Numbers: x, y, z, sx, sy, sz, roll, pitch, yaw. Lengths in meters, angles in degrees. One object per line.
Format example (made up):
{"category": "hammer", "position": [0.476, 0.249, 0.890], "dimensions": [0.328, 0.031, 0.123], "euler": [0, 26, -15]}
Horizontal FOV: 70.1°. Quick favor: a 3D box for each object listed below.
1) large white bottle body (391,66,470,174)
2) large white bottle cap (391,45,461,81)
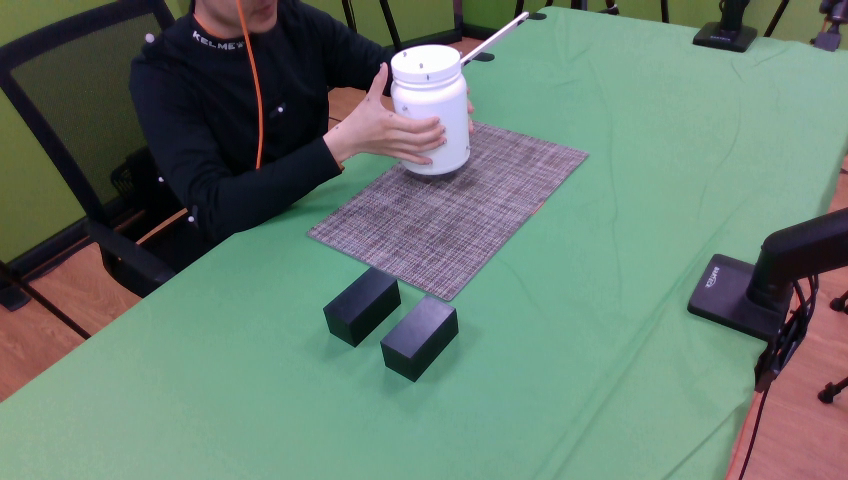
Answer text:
{"category": "large white bottle body", "position": [0.012, -0.223, 1.051], "dimensions": [0.130, 0.185, 0.130], "euler": [-4, 39, 4]}
{"category": "large white bottle cap", "position": [0.003, -0.292, 0.996], "dimensions": [0.115, 0.018, 0.114], "euler": [-4, 38, 3]}
